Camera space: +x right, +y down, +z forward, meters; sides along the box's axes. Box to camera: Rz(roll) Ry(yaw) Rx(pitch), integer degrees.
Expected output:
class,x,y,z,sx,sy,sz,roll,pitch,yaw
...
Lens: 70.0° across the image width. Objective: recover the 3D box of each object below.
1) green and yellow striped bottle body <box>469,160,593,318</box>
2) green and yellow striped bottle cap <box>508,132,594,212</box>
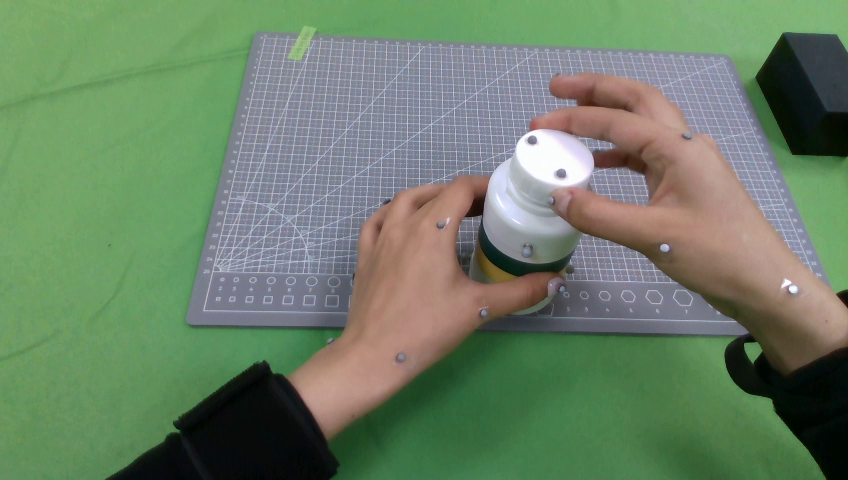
class,x,y,z,sx,sy,sz,roll,pitch,yaw
green and yellow striped bottle body,0.065,-0.005,0.377,0.063,0.120,0.062,2,55,-2
green and yellow striped bottle cap,0.070,-0.038,0.331,0.045,0.020,0.045,2,54,-3
